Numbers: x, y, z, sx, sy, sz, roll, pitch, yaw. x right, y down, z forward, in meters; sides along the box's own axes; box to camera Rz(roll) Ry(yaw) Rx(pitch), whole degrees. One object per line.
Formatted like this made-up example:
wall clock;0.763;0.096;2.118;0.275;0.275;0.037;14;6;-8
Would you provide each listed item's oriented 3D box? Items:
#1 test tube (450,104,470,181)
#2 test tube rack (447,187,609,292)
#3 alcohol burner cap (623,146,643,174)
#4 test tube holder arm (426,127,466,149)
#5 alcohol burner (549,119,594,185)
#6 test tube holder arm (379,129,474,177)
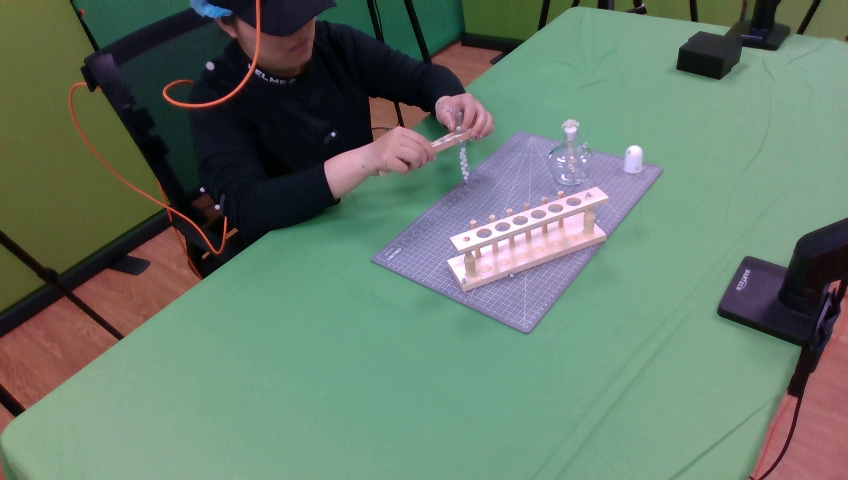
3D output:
test tube;0.064;-0.166;1.052;0.017;0.151;0.017;-8;39;7
test tube rack;0.155;-0.011;0.913;0.243;0.085;0.066;-19;41;-12
alcohol burner cap;0.369;-0.142;1.061;0.034;0.048;0.033;-7;41;6
test tube holder arm;0.039;-0.171;1.040;0.088;0.015;0.010;-34;33;-27
alcohol burner;0.254;-0.155;1.043;0.078;0.120;0.077;-7;40;6
test tube holder arm;0.005;-0.148;1.021;0.179;0.015;0.013;-27;30;-15
